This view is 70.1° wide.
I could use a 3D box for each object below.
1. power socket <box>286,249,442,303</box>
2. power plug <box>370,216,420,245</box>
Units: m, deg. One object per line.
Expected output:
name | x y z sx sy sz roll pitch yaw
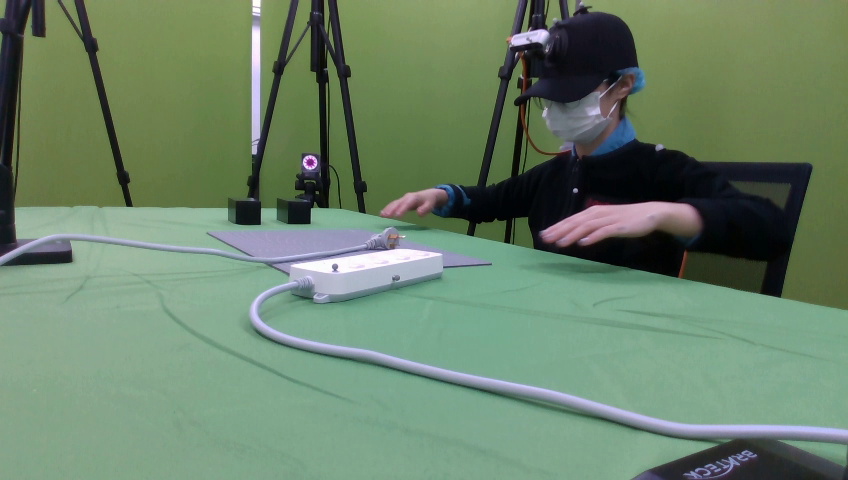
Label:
power socket | -0.059 0.035 0.688 0.072 0.032 0.228 6 8 33
power plug | -0.050 -0.023 0.960 0.053 0.072 0.035 37 -4 -36
